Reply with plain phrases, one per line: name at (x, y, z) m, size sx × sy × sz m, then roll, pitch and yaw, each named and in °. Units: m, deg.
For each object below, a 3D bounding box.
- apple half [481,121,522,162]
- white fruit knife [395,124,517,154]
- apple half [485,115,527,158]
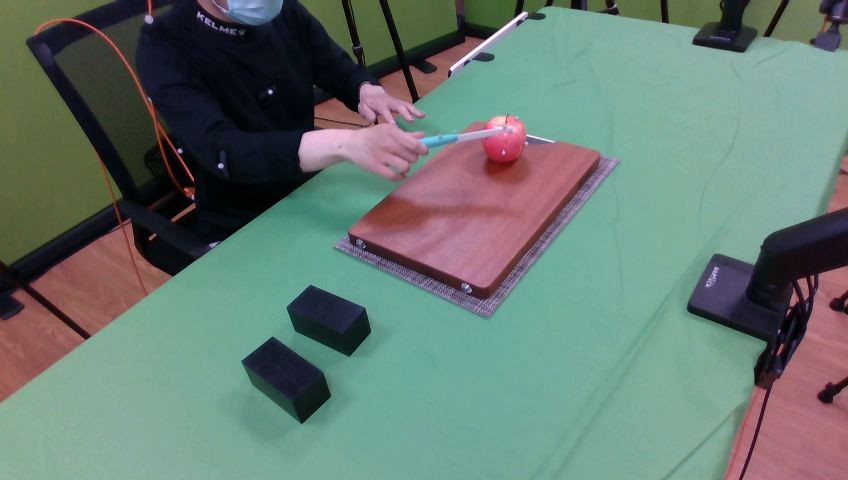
apple half at (0.130, -0.165, 1.057) m, size 0.081 × 0.081 × 0.033 m, roll 16°, pitch 42°, yaw 25°
white fruit knife at (0.050, -0.169, 0.992) m, size 0.207 × 0.027 × 0.016 m, roll -10°, pitch 72°, yaw 10°
apple half at (0.149, -0.188, 1.082) m, size 0.080 × 0.075 × 0.053 m, roll 13°, pitch 40°, yaw 28°
